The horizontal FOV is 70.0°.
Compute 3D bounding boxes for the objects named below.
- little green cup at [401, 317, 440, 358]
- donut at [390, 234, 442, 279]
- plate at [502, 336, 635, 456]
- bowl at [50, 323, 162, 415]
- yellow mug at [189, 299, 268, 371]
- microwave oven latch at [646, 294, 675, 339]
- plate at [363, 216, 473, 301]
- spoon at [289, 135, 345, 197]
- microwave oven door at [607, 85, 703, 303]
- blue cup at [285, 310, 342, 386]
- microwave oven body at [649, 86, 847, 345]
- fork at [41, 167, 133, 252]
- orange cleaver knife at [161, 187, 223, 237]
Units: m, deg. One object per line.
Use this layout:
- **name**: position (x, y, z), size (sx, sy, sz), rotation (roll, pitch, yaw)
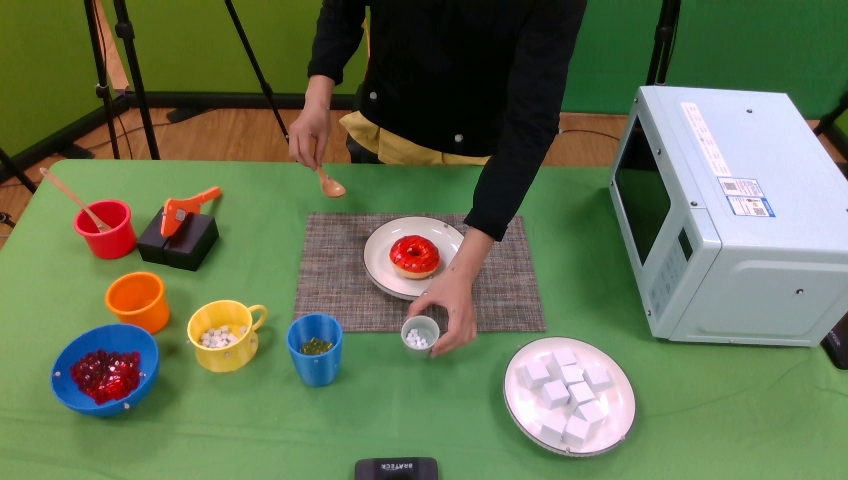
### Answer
- **little green cup**: position (-0.006, 0.159, 0.975), size (0.061, 0.039, 0.061), rotation (2, 55, -3)
- **donut**: position (-0.016, 0.031, 1.135), size (0.099, 0.048, 0.098), rotation (3, 45, -3)
- **plate**: position (0.225, 0.248, 0.963), size (0.208, 0.039, 0.206), rotation (2, 46, -2)
- **bowl**: position (-0.472, 0.209, 0.924), size (0.151, 0.077, 0.150), rotation (2, 45, -2)
- **yellow mug**: position (-0.316, 0.148, 1.002), size (0.131, 0.064, 0.099), rotation (-32, 56, -31)
- **microwave oven latch**: position (0.412, 0.134, 1.061), size (0.030, 0.029, 0.078), rotation (4, 45, 1)
- **plate**: position (-0.012, 0.038, 1.145), size (0.209, 0.038, 0.208), rotation (2, 46, -2)
- **spoon**: position (-0.216, -0.149, 1.199), size (0.041, 0.022, 0.192), rotation (-22, 62, -30)
- **microwave oven door**: position (0.423, -0.094, 1.141), size (0.039, 0.245, 0.353), rotation (2, 46, -1)
- **blue cup**: position (-0.169, 0.179, 0.958), size (0.093, 0.101, 0.092), rotation (1, 44, -1)
- **microwave oven body**: position (0.568, -0.053, 1.118), size (0.326, 0.261, 0.439), rotation (2, 45, -1)
- **fork**: position (-0.624, -0.056, 1.121), size (0.208, 0.018, 0.028), rotation (49, 52, -15)
- **orange cleaver knife**: position (-0.448, -0.058, 1.181), size (0.012, 0.077, 0.211), rotation (13, 17, 6)
